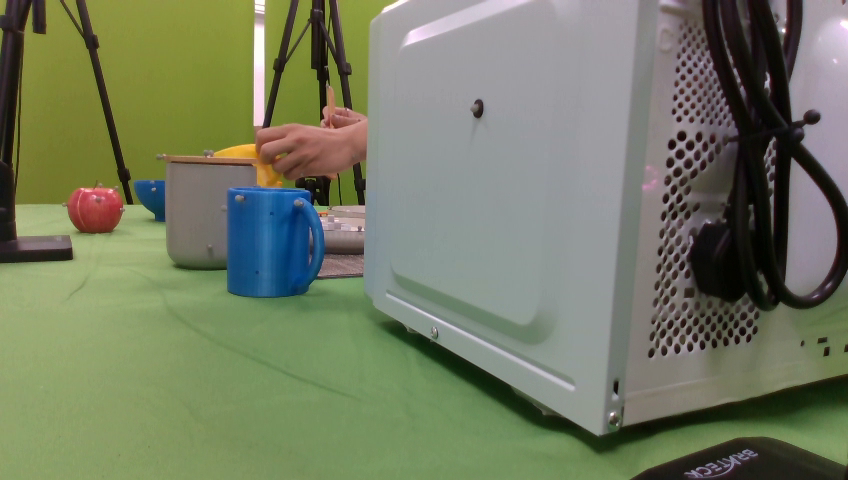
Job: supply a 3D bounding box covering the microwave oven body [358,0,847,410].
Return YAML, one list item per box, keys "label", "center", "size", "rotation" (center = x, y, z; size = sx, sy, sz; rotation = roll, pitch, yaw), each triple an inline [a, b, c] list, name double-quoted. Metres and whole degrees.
- label: "microwave oven body"
  center: [0.210, -0.051, 0.471]
  size: [0.444, 0.260, 0.324]
  rotation: [-1, 7, -28]

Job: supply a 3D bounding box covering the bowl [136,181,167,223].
- label: "bowl"
  center: [-0.497, -0.076, 1.221]
  size: [0.151, 0.077, 0.151]
  rotation: [2, 8, 0]

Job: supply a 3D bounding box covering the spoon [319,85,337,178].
- label: "spoon"
  center: [-0.168, -0.197, 1.083]
  size: [0.021, 0.193, 0.042]
  rotation: [-16, -26, 34]

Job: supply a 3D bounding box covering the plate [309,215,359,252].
- label: "plate"
  center: [-0.130, -0.011, 0.945]
  size: [0.208, 0.039, 0.207]
  rotation: [2, 8, 0]

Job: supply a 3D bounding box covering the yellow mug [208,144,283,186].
- label: "yellow mug"
  center: [-0.255, -0.097, 0.879]
  size: [0.130, 0.064, 0.100]
  rotation: [-21, -4, 27]

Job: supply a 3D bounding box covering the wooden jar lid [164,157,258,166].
- label: "wooden jar lid"
  center: [-0.261, -0.093, 0.746]
  size: [0.108, 0.020, 0.108]
  rotation: [1, 9, 0]

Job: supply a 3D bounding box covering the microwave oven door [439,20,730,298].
- label: "microwave oven door"
  center: [0.181, -0.076, 0.618]
  size: [0.358, 0.243, 0.039]
  rotation: [-2, 8, -28]

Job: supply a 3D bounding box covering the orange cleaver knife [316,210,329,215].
- label: "orange cleaver knife"
  center: [-0.259, -0.064, 1.423]
  size: [0.212, 0.012, 0.077]
  rotation: [-4, 3, -30]

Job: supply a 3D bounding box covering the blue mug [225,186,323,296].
- label: "blue mug"
  center: [-0.148, 0.000, 0.618]
  size: [0.116, 0.106, 0.083]
  rotation: [7, 9, 33]

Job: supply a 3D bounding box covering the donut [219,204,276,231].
- label: "donut"
  center: [-0.316, -0.039, 1.083]
  size: [0.099, 0.048, 0.099]
  rotation: [3, 7, 0]

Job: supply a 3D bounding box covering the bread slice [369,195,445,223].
- label: "bread slice"
  center: [-0.040, -0.057, 1.142]
  size: [0.107, 0.018, 0.133]
  rotation: [-9, -8, -39]

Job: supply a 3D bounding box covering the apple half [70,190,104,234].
- label: "apple half"
  center: [-0.552, -0.047, 1.010]
  size: [0.053, 0.074, 0.081]
  rotation: [0, 10, 26]

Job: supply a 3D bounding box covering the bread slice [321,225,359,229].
- label: "bread slice"
  center: [-0.125, -0.009, 0.938]
  size: [0.131, 0.019, 0.105]
  rotation: [6, 8, 32]

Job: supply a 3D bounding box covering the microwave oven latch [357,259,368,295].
- label: "microwave oven latch"
  center: [-0.019, 0.031, 0.529]
  size: [0.079, 0.029, 0.030]
  rotation: [-1, 7, -26]

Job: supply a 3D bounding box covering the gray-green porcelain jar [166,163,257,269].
- label: "gray-green porcelain jar"
  center: [-0.263, -0.031, 0.754]
  size: [0.106, 0.126, 0.106]
  rotation: [2, 7, 0]

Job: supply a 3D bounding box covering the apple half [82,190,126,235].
- label: "apple half"
  center: [-0.516, -0.046, 0.994]
  size: [0.032, 0.081, 0.081]
  rotation: [0, 6, 26]

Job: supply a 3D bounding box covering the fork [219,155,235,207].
- label: "fork"
  center: [-0.459, -0.134, 1.415]
  size: [0.028, 0.018, 0.207]
  rotation: [-1, -34, -24]

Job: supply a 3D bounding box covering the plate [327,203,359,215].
- label: "plate"
  center: [-0.102, -0.053, 1.299]
  size: [0.209, 0.038, 0.209]
  rotation: [2, 8, 0]
